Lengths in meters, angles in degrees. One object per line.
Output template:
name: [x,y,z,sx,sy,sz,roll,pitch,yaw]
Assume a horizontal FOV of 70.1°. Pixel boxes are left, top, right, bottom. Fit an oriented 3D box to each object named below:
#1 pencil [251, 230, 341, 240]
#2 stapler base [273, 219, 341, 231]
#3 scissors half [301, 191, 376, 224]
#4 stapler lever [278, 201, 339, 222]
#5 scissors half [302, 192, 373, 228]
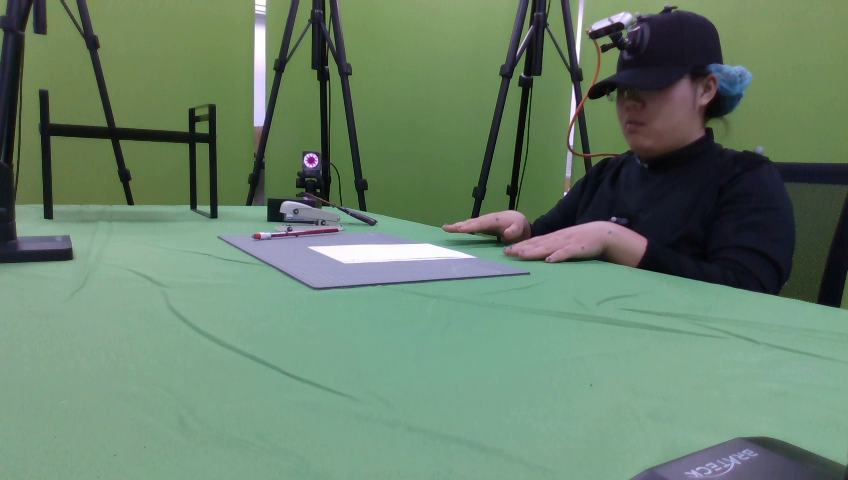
pencil: [-0.215,-0.011,1.049,0.012,0.012,0.195,9,9,39]
stapler base: [-0.225,-0.031,1.172,0.131,0.024,0.041,0,10,-34]
scissors half: [-0.189,-0.073,1.334,0.175,0.013,0.040,22,12,-10]
stapler lever: [-0.223,-0.055,1.170,0.119,0.040,0.026,-1,11,-34]
scissors half: [-0.191,-0.068,1.314,0.175,0.013,0.040,26,17,7]
